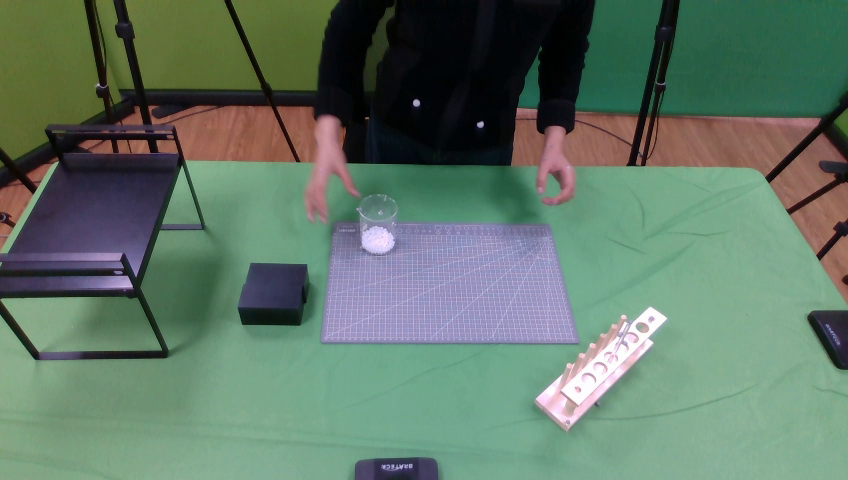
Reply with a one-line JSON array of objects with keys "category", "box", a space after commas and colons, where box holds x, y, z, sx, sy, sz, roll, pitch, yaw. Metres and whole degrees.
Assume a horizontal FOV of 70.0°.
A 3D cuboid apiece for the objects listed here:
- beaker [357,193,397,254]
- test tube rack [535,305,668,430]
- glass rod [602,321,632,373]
[{"category": "beaker", "box": [-0.088, -0.030, 1.159, 0.074, 0.101, 0.083, 14, 47, 9]}, {"category": "test tube rack", "box": [0.290, 0.193, 0.984, 0.242, 0.085, 0.066, -32, 57, -30]}, {"category": "glass rod", "box": [0.286, 0.173, 0.913, 0.008, 0.201, 0.008, -1, 53, 1]}]
